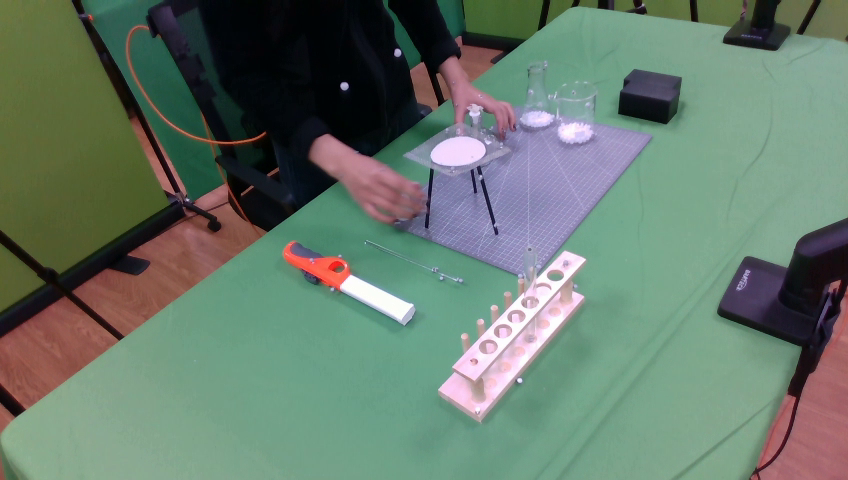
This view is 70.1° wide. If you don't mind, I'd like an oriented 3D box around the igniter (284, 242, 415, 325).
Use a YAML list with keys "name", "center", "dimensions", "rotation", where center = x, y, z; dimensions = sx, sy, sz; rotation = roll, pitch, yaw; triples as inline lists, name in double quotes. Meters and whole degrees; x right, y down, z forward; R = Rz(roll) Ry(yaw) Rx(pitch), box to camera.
- name: "igniter"
  center: [-0.125, 0.062, 0.931]
  dimensions: [0.274, 0.025, 0.057]
  rotation: [24, 58, 34]

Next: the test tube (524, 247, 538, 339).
- name: "test tube"
  center: [0.133, 0.070, 0.749]
  dimensions: [0.017, 0.151, 0.017]
  rotation: [-5, 38, 4]

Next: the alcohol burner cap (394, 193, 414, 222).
- name: "alcohol burner cap"
  center: [-0.036, -0.058, 1.040]
  dimensions: [0.034, 0.048, 0.033]
  rotation: [-6, 40, 5]

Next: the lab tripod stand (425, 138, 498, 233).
- name: "lab tripod stand"
  center: [0.064, -0.091, 0.988]
  dimensions: [0.148, 0.132, 0.147]
  rotation: [-6, 39, 6]

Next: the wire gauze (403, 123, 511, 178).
- name: "wire gauze"
  center: [0.051, -0.140, 0.943]
  dimensions: [0.125, 0.011, 0.120]
  rotation: [-31, 43, -25]

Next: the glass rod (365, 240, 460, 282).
- name: "glass rod"
  center: [-0.022, 0.032, 0.961]
  dimensions: [0.198, 0.008, 0.008]
  rotation: [21, 49, 35]

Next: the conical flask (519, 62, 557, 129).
- name: "conical flask"
  center: [0.225, -0.287, 1.198]
  dimensions: [0.075, 0.122, 0.075]
  rotation: [-6, 40, 5]

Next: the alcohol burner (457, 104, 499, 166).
- name: "alcohol burner"
  center: [0.099, -0.198, 1.124]
  dimensions: [0.078, 0.119, 0.077]
  rotation: [-5, 38, 4]

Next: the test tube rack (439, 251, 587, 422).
- name: "test tube rack"
  center: [0.118, 0.111, 0.780]
  dimensions: [0.066, 0.085, 0.243]
  rotation: [26, 51, 35]

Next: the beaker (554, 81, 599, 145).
- name: "beaker"
  center: [0.286, -0.237, 1.144]
  dimensions: [0.084, 0.101, 0.073]
  rotation: [-17, 40, -7]
